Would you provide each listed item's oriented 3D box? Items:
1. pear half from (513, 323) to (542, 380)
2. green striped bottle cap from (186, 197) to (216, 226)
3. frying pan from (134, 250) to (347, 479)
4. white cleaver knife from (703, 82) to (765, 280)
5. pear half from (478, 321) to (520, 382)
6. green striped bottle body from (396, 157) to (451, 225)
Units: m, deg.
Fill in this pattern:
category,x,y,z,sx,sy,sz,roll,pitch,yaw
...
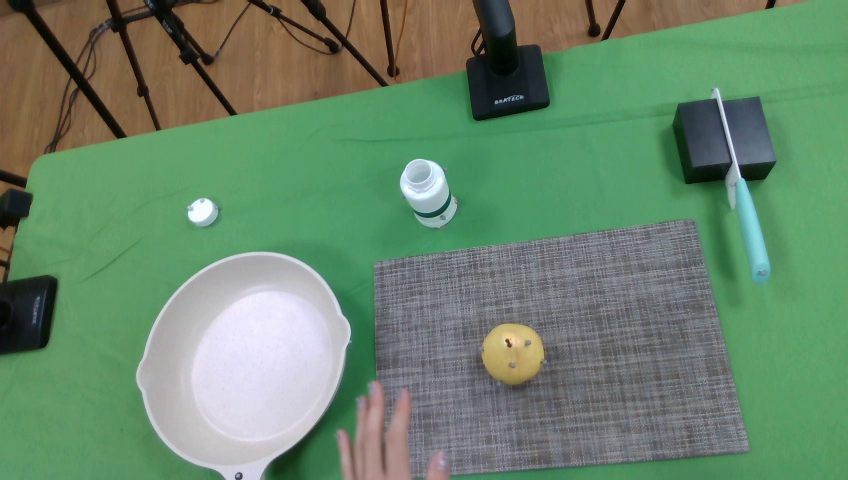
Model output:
category,x,y,z,sx,sy,sz,roll,pitch,yaw
pear half,0.131,0.137,0.754,0.031,0.089,0.070,-5,64,12
green striped bottle cap,-0.360,-0.046,0.976,0.044,0.020,0.044,-5,68,12
frying pan,-0.232,0.247,0.786,0.306,0.104,0.483,-12,58,8
white cleaver knife,0.404,-0.082,0.797,0.021,0.066,0.284,-8,65,17
pear half,0.094,0.134,0.753,0.056,0.111,0.076,-4,63,11
green striped bottle body,-0.001,-0.071,0.852,0.063,0.120,0.062,-4,67,11
